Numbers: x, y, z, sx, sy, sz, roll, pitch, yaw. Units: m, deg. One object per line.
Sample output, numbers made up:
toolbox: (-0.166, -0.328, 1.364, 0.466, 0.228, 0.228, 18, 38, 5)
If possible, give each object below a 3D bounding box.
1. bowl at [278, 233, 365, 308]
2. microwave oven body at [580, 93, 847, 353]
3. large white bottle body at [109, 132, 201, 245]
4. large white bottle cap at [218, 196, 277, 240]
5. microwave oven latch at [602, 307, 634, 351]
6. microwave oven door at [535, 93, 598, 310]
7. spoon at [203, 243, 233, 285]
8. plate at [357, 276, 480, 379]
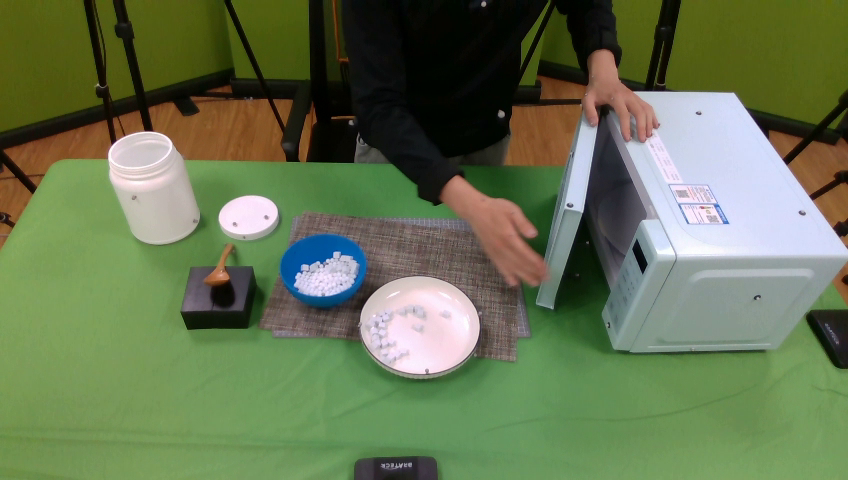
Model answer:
bowl: (-0.178, 0.068, 1.076, 0.151, 0.077, 0.150, 3, 46, -2)
microwave oven body: (0.475, -0.041, 1.109, 0.326, 0.261, 0.438, -1, 45, -4)
large white bottle body: (-0.506, -0.097, 1.141, 0.131, 0.185, 0.130, 2, 46, -2)
large white bottle cap: (-0.354, -0.045, 1.220, 0.115, 0.018, 0.114, 2, 45, -1)
microwave oven latch: (0.332, 0.153, 1.044, 0.030, 0.029, 0.078, 0, 45, -4)
microwave oven door: (0.270, -0.081, 1.125, 0.039, 0.245, 0.354, 14, 46, 9)
spoon: (-0.360, 0.039, 1.087, 0.041, 0.022, 0.192, -5, 24, -7)
plate: (-0.010, 0.151, 1.038, 0.209, 0.038, 0.208, 2, 47, -2)
